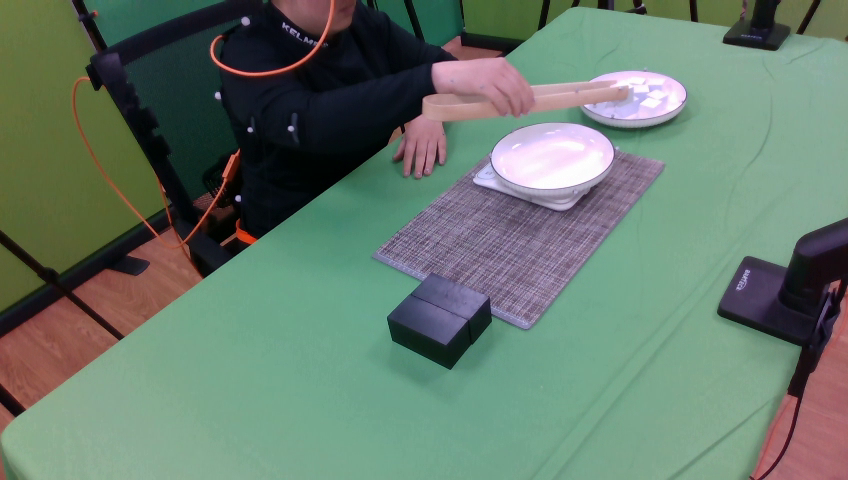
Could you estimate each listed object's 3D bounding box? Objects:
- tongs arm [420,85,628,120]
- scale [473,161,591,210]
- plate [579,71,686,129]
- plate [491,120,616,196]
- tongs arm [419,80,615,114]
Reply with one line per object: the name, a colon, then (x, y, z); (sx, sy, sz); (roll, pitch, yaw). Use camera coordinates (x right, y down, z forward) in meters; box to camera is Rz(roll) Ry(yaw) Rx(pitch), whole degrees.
tongs arm: (0.175, -0.232, 0.998); (0.387, 0.026, 0.050); (-13, 35, -25)
scale: (0.202, -0.121, 1.074); (0.199, 0.032, 0.149); (23, 49, 33)
plate: (0.416, -0.279, 1.222); (0.209, 0.038, 0.208); (-5, 41, 5)
plate: (0.221, -0.137, 1.038); (0.207, 0.039, 0.206); (-6, 41, 5)
tongs arm: (0.166, -0.243, 1.016); (0.390, 0.028, 0.028); (-10, 38, -22)
